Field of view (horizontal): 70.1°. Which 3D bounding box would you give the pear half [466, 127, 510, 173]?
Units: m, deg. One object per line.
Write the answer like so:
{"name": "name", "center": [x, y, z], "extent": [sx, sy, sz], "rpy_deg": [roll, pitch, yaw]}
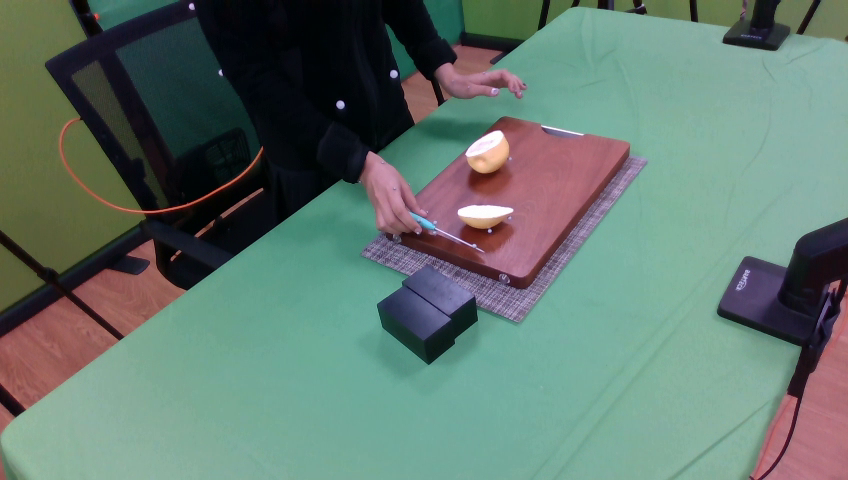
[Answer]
{"name": "pear half", "center": [0.124, -0.162, 1.079], "extent": [0.076, 0.056, 0.110], "rpy_deg": [-1, 40, 38]}

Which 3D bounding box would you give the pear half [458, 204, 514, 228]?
{"name": "pear half", "center": [0.097, -0.035, 0.953], "extent": [0.088, 0.031, 0.070], "rpy_deg": [1, 26, -1]}

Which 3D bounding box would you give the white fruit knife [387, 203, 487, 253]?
{"name": "white fruit knife", "center": [0.016, -0.020, 0.953], "extent": [0.206, 0.027, 0.016], "rpy_deg": [25, 87, 32]}
